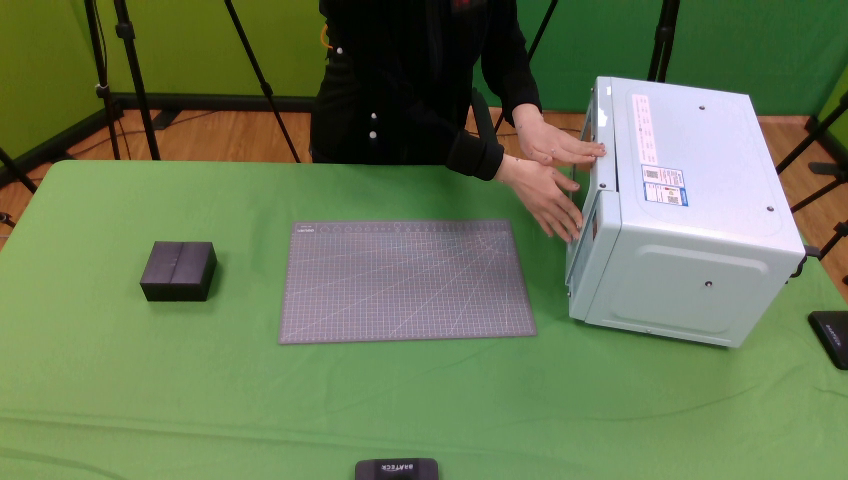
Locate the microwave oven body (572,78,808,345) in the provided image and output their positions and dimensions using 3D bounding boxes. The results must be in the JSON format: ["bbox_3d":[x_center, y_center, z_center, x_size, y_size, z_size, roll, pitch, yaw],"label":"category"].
[{"bbox_3d":[0.456,-0.063,1.124,0.326,0.261,0.439,8,45,5],"label":"microwave oven body"}]

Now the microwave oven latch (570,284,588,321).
[{"bbox_3d":[0.276,0.105,1.082,0.030,0.029,0.079,10,46,7],"label":"microwave oven latch"}]

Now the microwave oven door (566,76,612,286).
[{"bbox_3d":[0.316,-0.120,1.161,0.039,0.245,0.354,9,46,6],"label":"microwave oven door"}]
